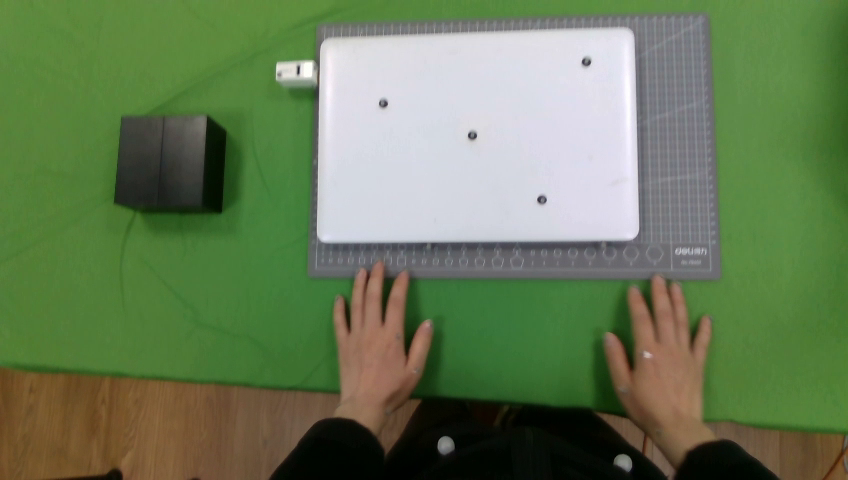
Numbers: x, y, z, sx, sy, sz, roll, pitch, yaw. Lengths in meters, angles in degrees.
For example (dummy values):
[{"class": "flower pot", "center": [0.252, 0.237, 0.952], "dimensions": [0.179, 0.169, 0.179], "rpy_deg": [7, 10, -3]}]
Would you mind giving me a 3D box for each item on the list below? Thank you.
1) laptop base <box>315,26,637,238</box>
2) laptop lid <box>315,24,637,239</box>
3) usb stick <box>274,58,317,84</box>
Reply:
[{"class": "laptop base", "center": [0.053, -0.120, 0.680], "dimensions": [0.354, 0.023, 0.235], "rpy_deg": [-1, 86, 5]}, {"class": "laptop lid", "center": [0.053, -0.119, 0.669], "dimensions": [0.356, 0.013, 0.241], "rpy_deg": [1, 85, 5]}, {"class": "usb stick", "center": [-0.140, -0.194, 0.695], "dimensions": [0.059, 0.027, 0.021], "rpy_deg": [0, 82, 6]}]
